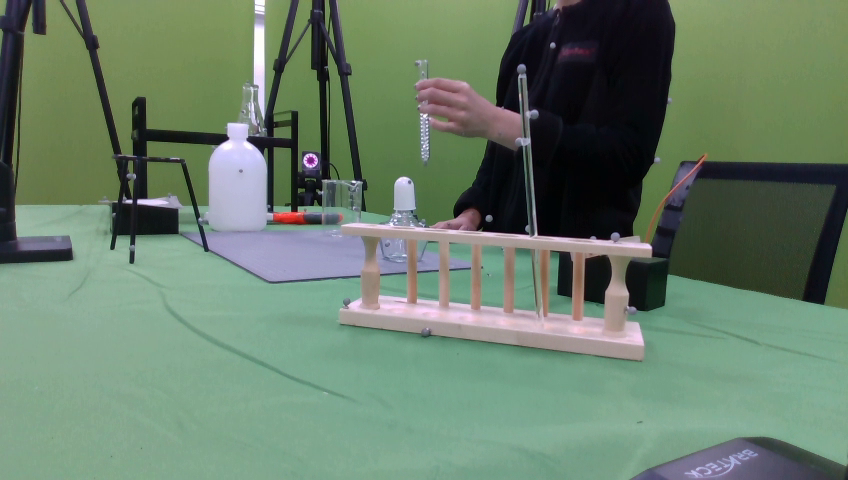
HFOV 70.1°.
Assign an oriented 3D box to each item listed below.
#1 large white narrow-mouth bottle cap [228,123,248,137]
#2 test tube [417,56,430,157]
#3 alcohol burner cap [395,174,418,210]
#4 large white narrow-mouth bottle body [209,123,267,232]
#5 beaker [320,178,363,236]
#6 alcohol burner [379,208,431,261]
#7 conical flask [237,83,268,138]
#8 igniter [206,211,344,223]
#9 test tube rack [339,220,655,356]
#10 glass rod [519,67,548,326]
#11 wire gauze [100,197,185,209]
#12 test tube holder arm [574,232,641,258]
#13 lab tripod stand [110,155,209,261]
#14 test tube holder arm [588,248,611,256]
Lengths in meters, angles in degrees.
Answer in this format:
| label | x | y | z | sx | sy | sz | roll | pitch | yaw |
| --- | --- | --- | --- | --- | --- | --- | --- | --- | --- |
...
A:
| label | x | y | z | sx | sy | sz | roll | pitch | yaw |
| --- | --- | --- | --- | --- | --- | --- | --- | --- | --- |
| large white narrow-mouth bottle cap | -0.338 | -0.199 | 1.097 | 0.038 | 0.024 | 0.037 | 2 | 8 | 0 |
| test tube | 0.000 | -0.200 | 0.912 | 0.017 | 0.150 | 0.017 | -2 | 18 | 1 |
| alcohol burner cap | -0.026 | -0.067 | 0.834 | 0.034 | 0.048 | 0.034 | -1 | 12 | 1 |
| large white narrow-mouth bottle body | -0.340 | -0.115 | 1.109 | 0.102 | 0.194 | 0.102 | 2 | 8 | 0 |
| beaker | -0.145 | -0.059 | 1.079 | 0.074 | 0.100 | 0.083 | -4 | 10 | -36 |
| alcohol burner | -0.027 | -0.031 | 0.838 | 0.078 | 0.119 | 0.078 | 0 | 6 | 0 |
| conical flask | -0.402 | -0.299 | 1.406 | 0.075 | 0.122 | 0.075 | 2 | 7 | 0 |
| igniter | -0.302 | -0.048 | 1.249 | 0.278 | 0.025 | 0.057 | -2 | -2 | -26 |
| test tube rack | 0.056 | 0.032 | 0.495 | 0.242 | 0.085 | 0.067 | 4 | 7 | 15 |
| glass rod | 0.084 | -0.029 | 0.459 | 0.008 | 0.199 | 0.008 | -7 | 11 | 2 |
| wire gauze | -0.469 | -0.062 | 1.008 | 0.126 | 0.011 | 0.121 | -2 | 8 | -25 |
| test tube holder arm | 0.202 | 0.003 | 0.651 | 0.013 | 0.015 | 0.179 | -3 | 2 | 36 |
| lab tripod stand | -0.361 | -0.046 | 0.806 | 0.148 | 0.131 | 0.148 | 2 | 5 | 0 |
| test tube holder arm | 0.180 | 0.006 | 0.611 | 0.010 | 0.015 | 0.088 | -3 | 2 | 36 |
